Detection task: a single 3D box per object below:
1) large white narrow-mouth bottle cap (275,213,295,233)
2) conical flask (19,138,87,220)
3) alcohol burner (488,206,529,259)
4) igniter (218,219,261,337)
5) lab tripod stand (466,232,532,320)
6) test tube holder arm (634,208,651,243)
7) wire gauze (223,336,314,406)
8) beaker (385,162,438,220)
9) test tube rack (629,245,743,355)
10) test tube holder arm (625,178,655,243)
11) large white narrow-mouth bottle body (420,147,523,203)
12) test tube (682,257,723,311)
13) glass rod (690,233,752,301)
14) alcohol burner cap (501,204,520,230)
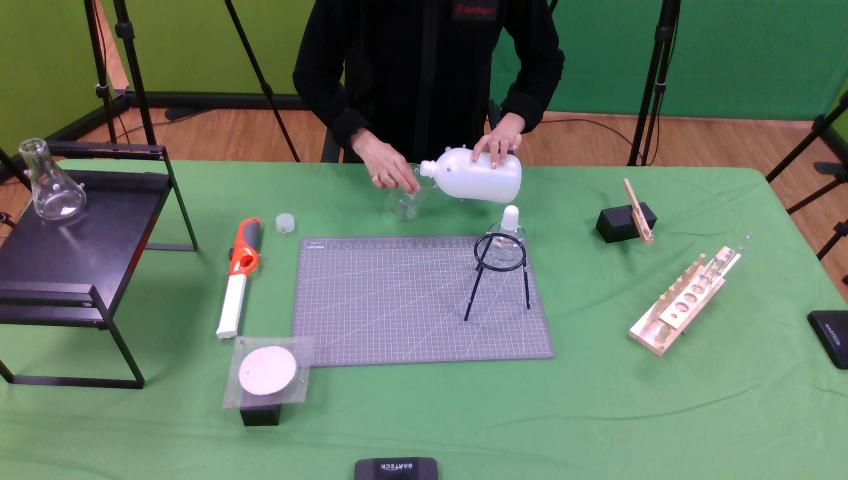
[{"bbox_3d":[-0.277,-0.034,1.213,0.038,0.024,0.037,3,46,-3],"label":"large white narrow-mouth bottle cap"},{"bbox_3d":[-0.576,-0.097,0.930,0.075,0.122,0.075,2,46,-2],"label":"conical flask"},{"bbox_3d":[0.163,-0.020,1.158,0.078,0.120,0.077,0,47,0],"label":"alcohol burner"},{"bbox_3d":[-0.336,0.060,1.111,0.057,0.025,0.274,-8,46,4],"label":"igniter"},{"bbox_3d":[0.125,0.059,1.065,0.148,0.132,0.147,1,45,0],"label":"lab tripod stand"},{"bbox_3d":[0.428,-0.030,1.189,0.010,0.015,0.087,1,47,-2],"label":"test tube holder arm"},{"bbox_3d":[-0.237,0.197,0.931,0.121,0.011,0.124,1,45,-4],"label":"wire gauze"},{"bbox_3d":[-0.028,-0.096,1.224,0.084,0.100,0.073,24,39,-11],"label":"beaker"},{"bbox_3d":[0.474,0.095,1.091,0.242,0.085,0.066,-34,56,-31],"label":"test tube rack"},{"bbox_3d":[0.433,-0.062,1.220,0.013,0.015,0.177,1,47,-3],"label":"test tube holder arm"},{"bbox_3d":[0.089,-0.132,1.194,0.195,0.102,0.101,6,45,-12],"label":"large white narrow-mouth bottle body"},{"bbox_3d":[0.475,0.080,1.037,0.017,0.151,0.017,1,51,-1],"label":"test tube"},{"bbox_3d":[0.507,0.053,1.041,0.008,0.200,0.008,5,51,-6],"label":"glass rod"},{"bbox_3d":[0.164,-0.046,1.133,0.034,0.048,0.033,2,40,-2],"label":"alcohol burner cap"}]
